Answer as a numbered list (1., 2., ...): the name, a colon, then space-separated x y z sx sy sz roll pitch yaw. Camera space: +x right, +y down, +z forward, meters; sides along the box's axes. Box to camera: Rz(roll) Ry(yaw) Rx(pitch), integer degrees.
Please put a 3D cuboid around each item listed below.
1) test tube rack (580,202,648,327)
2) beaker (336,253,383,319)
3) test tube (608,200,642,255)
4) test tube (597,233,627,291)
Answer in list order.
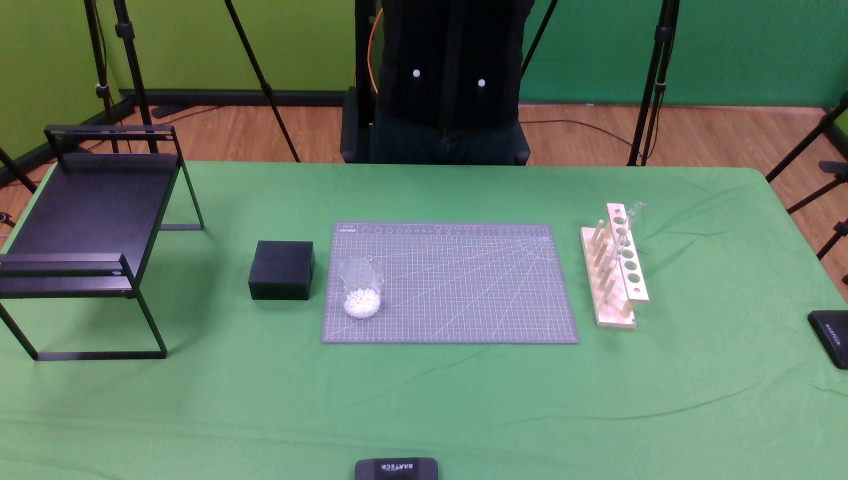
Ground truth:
1. test tube rack: 0.352 0.040 1.143 0.067 0.085 0.241 4 46 0
2. beaker: -0.108 0.084 1.052 0.084 0.101 0.074 25 50 17
3. test tube: 0.374 -0.020 1.134 0.017 0.151 0.017 3 51 -3
4. test tube: 0.334 0.041 1.079 0.017 0.151 0.017 2 48 -2
